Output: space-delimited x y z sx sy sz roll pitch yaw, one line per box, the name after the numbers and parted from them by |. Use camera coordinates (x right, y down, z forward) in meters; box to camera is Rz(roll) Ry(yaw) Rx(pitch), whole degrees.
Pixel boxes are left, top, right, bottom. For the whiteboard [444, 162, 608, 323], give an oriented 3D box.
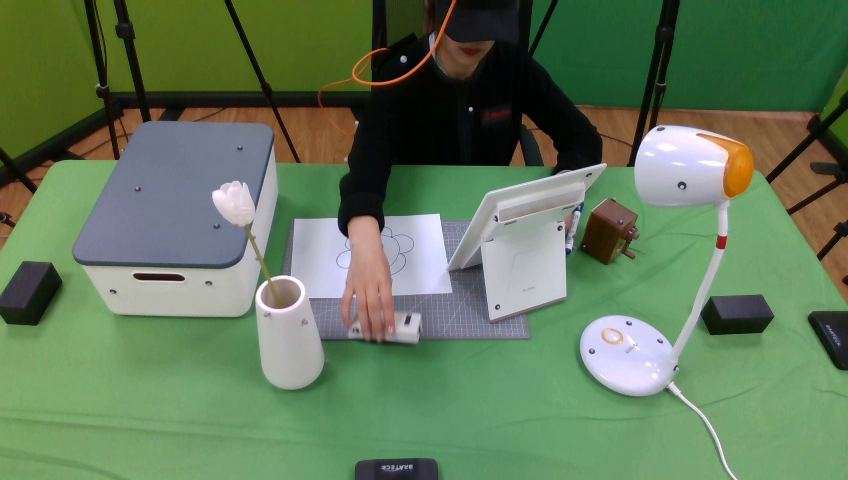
0.186 0.025 1.029 0.217 0.306 0.143 -14 68 -17 | whiteboard

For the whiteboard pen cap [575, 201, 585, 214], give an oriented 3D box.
0.327 -0.069 1.278 0.018 0.018 0.033 18 52 13 | whiteboard pen cap

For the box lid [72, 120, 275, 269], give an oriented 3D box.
-0.417 -0.094 1.056 0.263 0.015 0.369 1 47 -3 | box lid

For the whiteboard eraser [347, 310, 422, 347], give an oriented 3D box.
-0.062 0.141 0.965 0.112 0.042 0.055 4 30 6 | whiteboard eraser

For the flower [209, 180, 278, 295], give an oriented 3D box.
-0.217 0.075 0.872 0.044 0.363 0.038 -29 36 -19 | flower

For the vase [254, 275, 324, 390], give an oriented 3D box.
-0.209 0.143 0.921 0.098 0.201 0.097 1 46 -1 | vase

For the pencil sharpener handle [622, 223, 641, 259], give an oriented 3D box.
0.397 0.003 1.146 0.030 0.068 0.036 37 46 27 | pencil sharpener handle

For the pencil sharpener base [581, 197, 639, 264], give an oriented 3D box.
0.362 -0.017 1.179 0.076 0.107 0.061 37 54 27 | pencil sharpener base

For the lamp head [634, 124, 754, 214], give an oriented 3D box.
0.351 -0.089 0.776 0.112 0.113 0.122 -30 30 -28 | lamp head

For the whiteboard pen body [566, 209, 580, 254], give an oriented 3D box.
0.306 -0.025 1.242 0.017 0.017 0.140 16 50 11 | whiteboard pen body

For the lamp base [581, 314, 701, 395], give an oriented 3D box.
0.361 0.145 0.973 0.178 0.181 0.160 34 53 23 | lamp base

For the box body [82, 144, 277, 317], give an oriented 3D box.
-0.421 -0.041 1.108 0.254 0.161 0.361 2 46 -3 | box body
